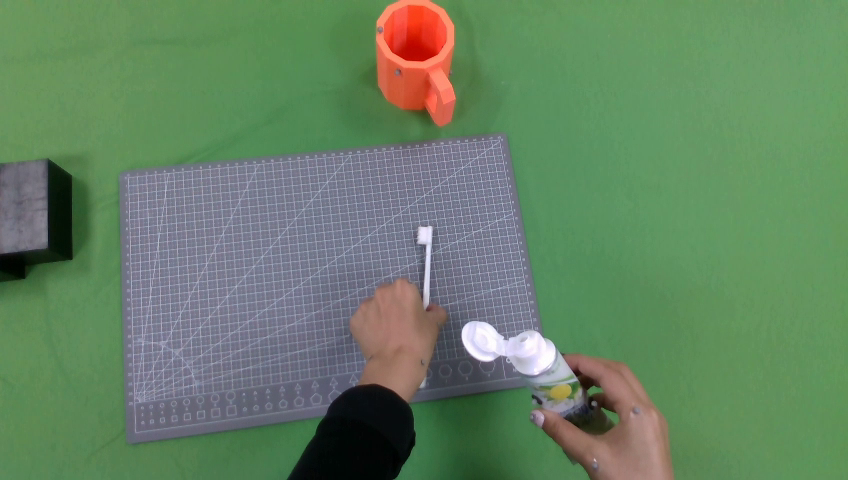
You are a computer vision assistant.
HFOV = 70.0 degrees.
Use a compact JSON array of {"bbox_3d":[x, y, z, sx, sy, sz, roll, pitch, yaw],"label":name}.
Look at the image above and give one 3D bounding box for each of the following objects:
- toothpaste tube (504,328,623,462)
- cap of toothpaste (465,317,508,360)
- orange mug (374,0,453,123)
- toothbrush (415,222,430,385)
[{"bbox_3d":[0.111,0.130,0.498,0.055,0.034,0.167,-29,121,13],"label":"toothpaste tube"},{"bbox_3d":[0.048,0.074,0.467,0.037,0.011,0.037,17,50,-21],"label":"cap of toothpaste"},{"bbox_3d":[-0.006,-0.200,0.695,0.083,0.101,0.125,-28,75,-10],"label":"orange mug"},{"bbox_3d":[-0.003,0.067,0.669,0.017,0.014,0.181,5,76,-15],"label":"toothbrush"}]
